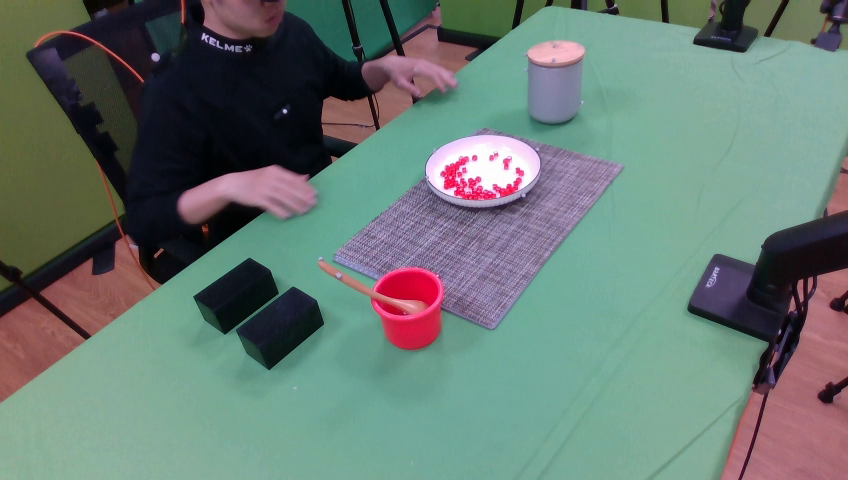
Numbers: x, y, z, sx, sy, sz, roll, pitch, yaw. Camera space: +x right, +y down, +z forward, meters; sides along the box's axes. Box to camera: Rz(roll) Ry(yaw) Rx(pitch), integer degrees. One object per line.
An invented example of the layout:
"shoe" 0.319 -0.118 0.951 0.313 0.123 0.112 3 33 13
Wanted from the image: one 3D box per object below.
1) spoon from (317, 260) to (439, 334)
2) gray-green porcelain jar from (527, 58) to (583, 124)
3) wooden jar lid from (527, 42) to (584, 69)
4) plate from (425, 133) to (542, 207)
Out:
"spoon" -0.056 0.074 0.788 0.195 0.021 0.041 27 42 -21
"gray-green porcelain jar" 0.260 -0.305 1.207 0.106 0.127 0.105 -4 41 4
"wooden jar lid" 0.253 -0.352 1.164 0.108 0.021 0.108 -5 39 5
"plate" 0.106 -0.122 1.079 0.207 0.039 0.206 -4 41 4
